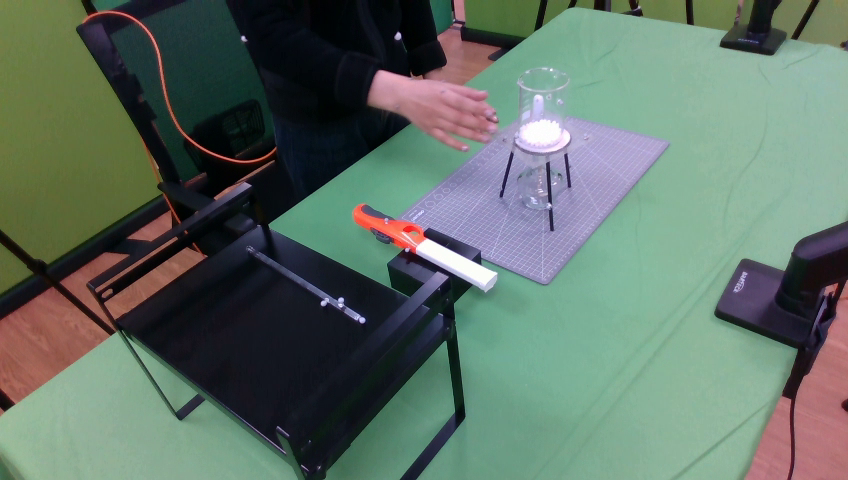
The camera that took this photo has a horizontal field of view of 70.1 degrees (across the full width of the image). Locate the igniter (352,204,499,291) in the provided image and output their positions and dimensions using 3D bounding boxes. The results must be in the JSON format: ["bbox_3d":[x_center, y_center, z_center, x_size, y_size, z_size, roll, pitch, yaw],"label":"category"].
[{"bbox_3d":[-0.009,0.005,0.895,0.274,0.025,0.057,27,48,32],"label":"igniter"}]

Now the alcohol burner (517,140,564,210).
[{"bbox_3d":[0.193,-0.110,1.001,0.078,0.119,0.077,-5,38,5],"label":"alcohol burner"}]

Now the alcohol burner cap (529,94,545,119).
[{"bbox_3d":[0.233,-0.277,1.247,0.034,0.048,0.033,-5,41,5],"label":"alcohol burner cap"}]

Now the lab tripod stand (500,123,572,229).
[{"bbox_3d":[0.194,-0.110,0.985,0.148,0.132,0.147,-3,41,3],"label":"lab tripod stand"}]

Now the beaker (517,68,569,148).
[{"bbox_3d":[0.179,-0.198,0.914,0.073,0.100,0.084,25,49,30],"label":"beaker"}]

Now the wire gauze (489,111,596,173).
[{"bbox_3d":[0.183,-0.159,0.943,0.122,0.011,0.124,-25,47,-17],"label":"wire gauze"}]

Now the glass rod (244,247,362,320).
[{"bbox_3d":[-0.140,0.045,0.674,0.198,0.008,0.008,25,50,32],"label":"glass rod"}]
